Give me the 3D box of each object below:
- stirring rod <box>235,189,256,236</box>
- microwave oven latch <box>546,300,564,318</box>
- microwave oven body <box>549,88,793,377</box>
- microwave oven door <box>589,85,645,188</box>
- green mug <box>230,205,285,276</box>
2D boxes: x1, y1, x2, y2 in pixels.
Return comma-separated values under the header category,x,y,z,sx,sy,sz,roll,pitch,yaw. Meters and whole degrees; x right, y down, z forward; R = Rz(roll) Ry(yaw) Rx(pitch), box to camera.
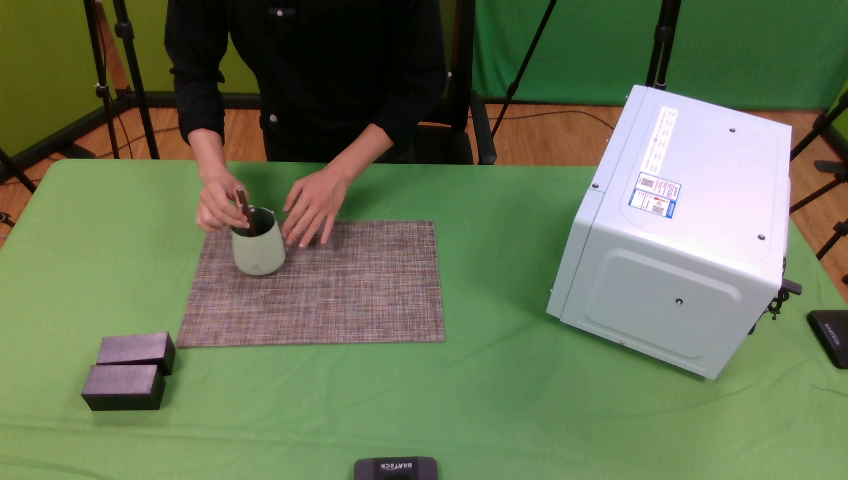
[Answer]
category,x,y,z,sx,sy,sz,roll,pitch,yaw
stirring rod,-0.301,-0.020,1.050,0.014,0.177,0.006,11,46,12
microwave oven latch,0.242,0.102,1.081,0.030,0.029,0.079,21,48,17
microwave oven body,0.456,-0.028,1.087,0.325,0.261,0.440,20,47,16
microwave oven door,0.342,-0.107,1.148,0.039,0.245,0.354,20,48,15
green mug,-0.311,-0.008,1.117,0.092,0.105,0.124,-14,49,-16
